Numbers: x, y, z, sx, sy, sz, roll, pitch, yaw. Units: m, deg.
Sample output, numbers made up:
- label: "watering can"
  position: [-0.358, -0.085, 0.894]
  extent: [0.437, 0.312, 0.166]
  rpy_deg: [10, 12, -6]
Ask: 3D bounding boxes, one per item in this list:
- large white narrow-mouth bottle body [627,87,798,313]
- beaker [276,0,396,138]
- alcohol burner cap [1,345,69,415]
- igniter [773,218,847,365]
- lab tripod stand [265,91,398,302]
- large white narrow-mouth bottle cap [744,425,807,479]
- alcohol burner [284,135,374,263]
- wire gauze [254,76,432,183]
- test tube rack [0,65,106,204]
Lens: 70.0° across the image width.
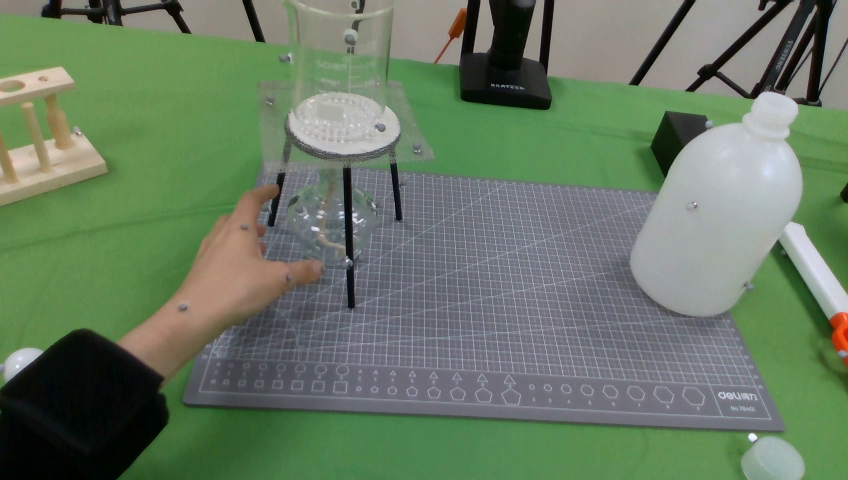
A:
- label: "large white narrow-mouth bottle body"
  position: [0.248, -0.034, 0.509]
  extent: [0.102, 0.196, 0.101]
  rpy_deg: [4, 42, -4]
- label: "beaker"
  position: [-0.065, -0.131, 0.435]
  extent: [0.084, 0.101, 0.073]
  rpy_deg: [0, 45, -10]
- label: "alcohol burner cap"
  position: [-0.261, 0.091, 0.403]
  extent: [0.034, 0.048, 0.033]
  rpy_deg: [6, 42, -6]
- label: "igniter"
  position: [0.378, 0.075, 0.541]
  extent: [0.057, 0.025, 0.274]
  rpy_deg: [13, 41, -11]
- label: "lab tripod stand"
  position: [-0.070, -0.043, 0.509]
  extent: [0.148, 0.132, 0.147]
  rpy_deg: [6, 43, -6]
- label: "large white narrow-mouth bottle cap"
  position: [0.253, 0.155, 0.437]
  extent: [0.038, 0.024, 0.037]
  rpy_deg: [5, 42, -4]
- label: "alcohol burner"
  position: [-0.080, -0.038, 0.517]
  extent: [0.078, 0.120, 0.077]
  rpy_deg: [7, 41, -5]
- label: "wire gauze"
  position: [-0.066, -0.093, 0.467]
  extent: [0.122, 0.011, 0.123]
  rpy_deg: [-7, 48, -14]
- label: "test tube rack"
  position: [-0.420, -0.071, 0.519]
  extent: [0.242, 0.086, 0.066]
  rpy_deg: [-27, 53, -33]
